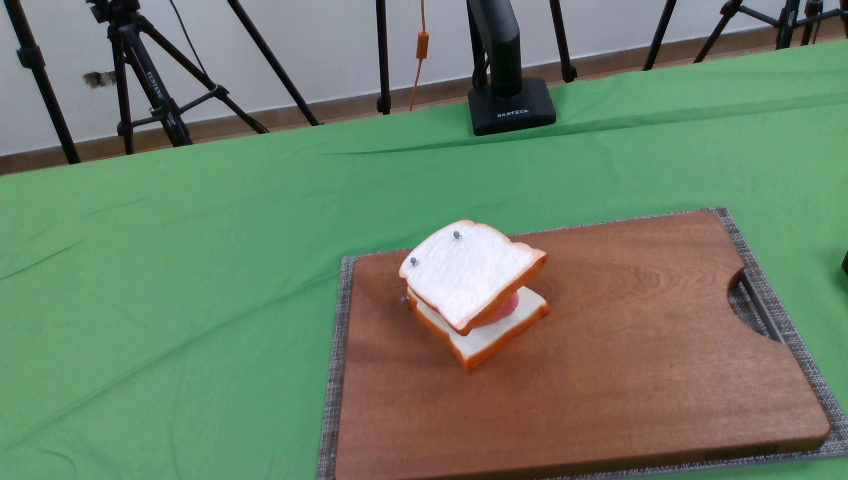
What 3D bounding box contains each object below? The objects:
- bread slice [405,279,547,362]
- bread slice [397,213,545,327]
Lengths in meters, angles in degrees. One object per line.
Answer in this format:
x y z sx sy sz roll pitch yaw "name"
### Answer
0.041 0.053 0.610 0.105 0.019 0.130 -32 47 -21 "bread slice"
0.034 0.022 0.579 0.107 0.018 0.133 -41 36 -17 "bread slice"
